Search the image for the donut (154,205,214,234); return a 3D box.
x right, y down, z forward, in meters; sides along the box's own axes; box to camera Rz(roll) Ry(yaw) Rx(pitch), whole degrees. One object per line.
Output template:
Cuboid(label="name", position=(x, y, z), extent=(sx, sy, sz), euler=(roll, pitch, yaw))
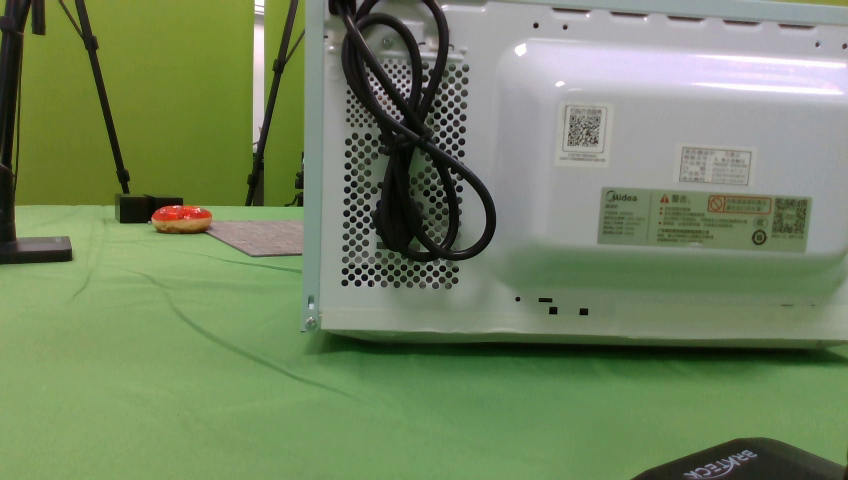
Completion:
Cuboid(label="donut", position=(-0.426, -0.037, 1.075), extent=(0.099, 0.048, 0.099), euler=(2, 12, 0))

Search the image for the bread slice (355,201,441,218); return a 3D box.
Cuboid(label="bread slice", position=(-0.031, -0.042, 0.819), extent=(0.105, 0.019, 0.131), euler=(0, 6, -16))

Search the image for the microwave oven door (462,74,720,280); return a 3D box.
Cuboid(label="microwave oven door", position=(0.202, -0.091, 0.824), extent=(0.354, 0.243, 0.039), euler=(9, 10, 42))

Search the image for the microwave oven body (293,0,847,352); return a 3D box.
Cuboid(label="microwave oven body", position=(0.122, -0.055, 0.550), extent=(0.442, 0.260, 0.325), euler=(3, 7, -5))

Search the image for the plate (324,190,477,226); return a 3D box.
Cuboid(label="plate", position=(-0.033, -0.044, 0.826), extent=(0.208, 0.039, 0.207), euler=(3, 6, 0))

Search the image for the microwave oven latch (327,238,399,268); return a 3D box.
Cuboid(label="microwave oven latch", position=(-0.069, 0.015, 0.694), extent=(0.079, 0.029, 0.030), euler=(3, 7, -2))
